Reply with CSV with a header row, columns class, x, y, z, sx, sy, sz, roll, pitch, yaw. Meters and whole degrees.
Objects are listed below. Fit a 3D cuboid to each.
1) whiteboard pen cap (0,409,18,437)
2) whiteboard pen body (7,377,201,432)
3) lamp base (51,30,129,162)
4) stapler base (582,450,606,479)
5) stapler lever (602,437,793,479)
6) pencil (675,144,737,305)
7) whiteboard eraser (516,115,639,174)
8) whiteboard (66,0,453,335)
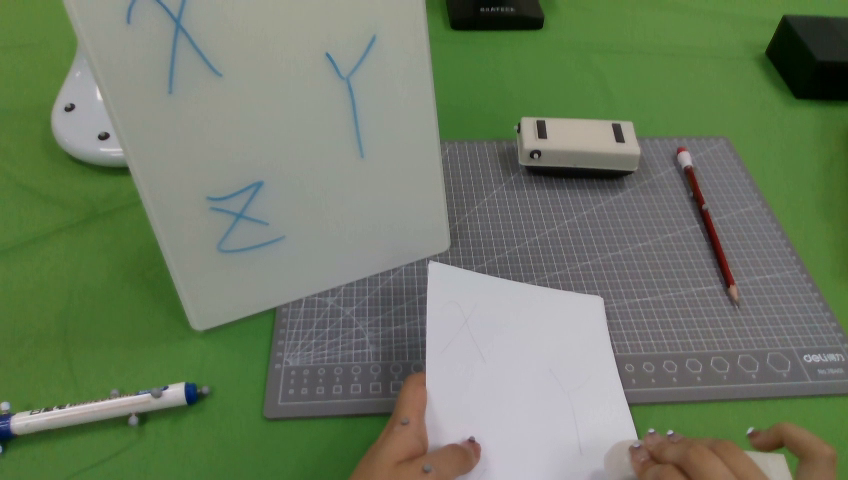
class,x,y,z,sx,sy,sz,roll,pitch,yaw
whiteboard pen cap,-0.284,0.121,0.396,0.033,0.018,0.018,-10,49,-10
whiteboard pen body,-0.225,0.113,0.409,0.141,0.017,0.017,-9,49,-10
lamp base,-0.297,-0.191,0.563,0.178,0.182,0.160,30,53,25
stapler base,0.169,0.154,0.390,0.131,0.024,0.041,4,51,-2
stapler lever,0.171,0.141,0.376,0.118,0.040,0.026,-1,51,3
pencil,0.257,-0.021,0.555,0.012,0.012,0.192,2,50,0
whiteboard eraser,0.148,-0.092,0.589,0.113,0.042,0.055,3,49,0
whiteboard,-0.116,-0.120,0.465,0.217,0.308,0.142,-17,32,-16
